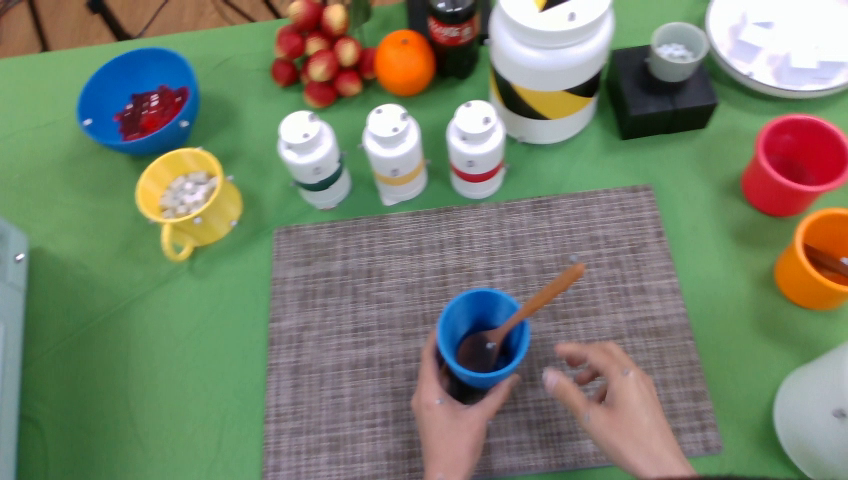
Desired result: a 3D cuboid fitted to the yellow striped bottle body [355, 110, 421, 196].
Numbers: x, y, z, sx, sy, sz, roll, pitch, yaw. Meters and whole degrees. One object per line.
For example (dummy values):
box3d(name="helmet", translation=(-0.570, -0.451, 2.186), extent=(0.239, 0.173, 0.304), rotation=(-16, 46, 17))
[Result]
box3d(name="yellow striped bottle body", translation=(-0.041, -0.105, 0.692), extent=(0.063, 0.121, 0.062), rotation=(-3, 64, 6))

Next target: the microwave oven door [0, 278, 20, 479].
box3d(name="microwave oven door", translation=(-0.450, 0.161, 0.519), extent=(0.039, 0.246, 0.352), rotation=(-16, 64, -1))

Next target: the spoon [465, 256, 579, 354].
box3d(name="spoon", translation=(0.080, 0.071, 0.559), extent=(0.022, 0.194, 0.041), rotation=(-10, 62, -34))

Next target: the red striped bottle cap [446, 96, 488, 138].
box3d(name="red striped bottle cap", translation=(0.045, -0.130, 0.637), extent=(0.044, 0.018, 0.044), rotation=(0, 63, 1))

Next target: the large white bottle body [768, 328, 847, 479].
box3d(name="large white bottle body", translation=(0.388, 0.133, 0.501), extent=(0.130, 0.186, 0.129), rotation=(-2, 64, 5))

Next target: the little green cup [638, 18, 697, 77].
box3d(name="little green cup", translation=(0.280, -0.222, 0.705), extent=(0.061, 0.039, 0.061), rotation=(-2, 63, 3))

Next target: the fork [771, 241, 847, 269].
box3d(name="fork", translation=(0.431, 0.025, 0.568), extent=(0.028, 0.019, 0.206), rotation=(-40, 23, -18))

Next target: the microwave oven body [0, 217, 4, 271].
box3d(name="microwave oven body", translation=(-0.600, 0.165, 0.537), extent=(0.326, 0.262, 0.437), rotation=(-15, 65, -2))

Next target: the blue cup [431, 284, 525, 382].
box3d(name="blue cup", translation=(0.054, 0.100, 0.595), extent=(0.092, 0.101, 0.092), rotation=(-2, 67, 6))

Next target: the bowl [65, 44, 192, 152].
box3d(name="bowl", translation=(-0.361, -0.166, 0.775), extent=(0.151, 0.077, 0.150), rotation=(-2, 65, 4))

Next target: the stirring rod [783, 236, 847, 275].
box3d(name="stirring rod", translation=(0.403, 0.028, 0.576), extent=(0.014, 0.006, 0.175), rotation=(-13, 21, -1))

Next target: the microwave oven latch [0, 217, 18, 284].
box3d(name="microwave oven latch", translation=(-0.493, 0.015, 0.704), extent=(0.030, 0.030, 0.078), rotation=(-14, 65, -1))

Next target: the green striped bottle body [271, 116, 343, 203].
box3d(name="green striped bottle body", translation=(-0.135, -0.097, 0.698), extent=(0.063, 0.120, 0.062), rotation=(-2, 64, 5))

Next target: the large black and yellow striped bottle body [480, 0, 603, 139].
box3d(name="large black and yellow striped bottle body", translation=(0.130, -0.218, 0.693), extent=(0.131, 0.185, 0.129), rotation=(-2, 64, 5))

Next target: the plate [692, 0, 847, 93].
box3d(name="plate", translation=(0.444, -0.266, 0.767), extent=(0.209, 0.038, 0.207), rotation=(-2, 65, 5))

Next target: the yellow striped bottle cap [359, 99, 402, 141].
box3d(name="yellow striped bottle cap", translation=(-0.047, -0.128, 0.646), extent=(0.044, 0.019, 0.044), rotation=(-2, 66, 4))

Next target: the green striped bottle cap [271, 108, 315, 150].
box3d(name="green striped bottle cap", translation=(-0.141, -0.120, 0.651), extent=(0.044, 0.020, 0.044), rotation=(-2, 63, 4))

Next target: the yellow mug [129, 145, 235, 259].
box3d(name="yellow mug", translation=(-0.287, -0.040, 0.715), extent=(0.100, 0.064, 0.130), rotation=(2, 65, 6))

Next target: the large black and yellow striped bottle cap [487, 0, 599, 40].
box3d(name="large black and yellow striped bottle cap", translation=(0.121, -0.253, 0.617), extent=(0.115, 0.019, 0.114), rotation=(-3, 64, 5))

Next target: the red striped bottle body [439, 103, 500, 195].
box3d(name="red striped bottle body", translation=(0.052, -0.106, 0.684), extent=(0.063, 0.121, 0.062), rotation=(-4, 62, 9))
